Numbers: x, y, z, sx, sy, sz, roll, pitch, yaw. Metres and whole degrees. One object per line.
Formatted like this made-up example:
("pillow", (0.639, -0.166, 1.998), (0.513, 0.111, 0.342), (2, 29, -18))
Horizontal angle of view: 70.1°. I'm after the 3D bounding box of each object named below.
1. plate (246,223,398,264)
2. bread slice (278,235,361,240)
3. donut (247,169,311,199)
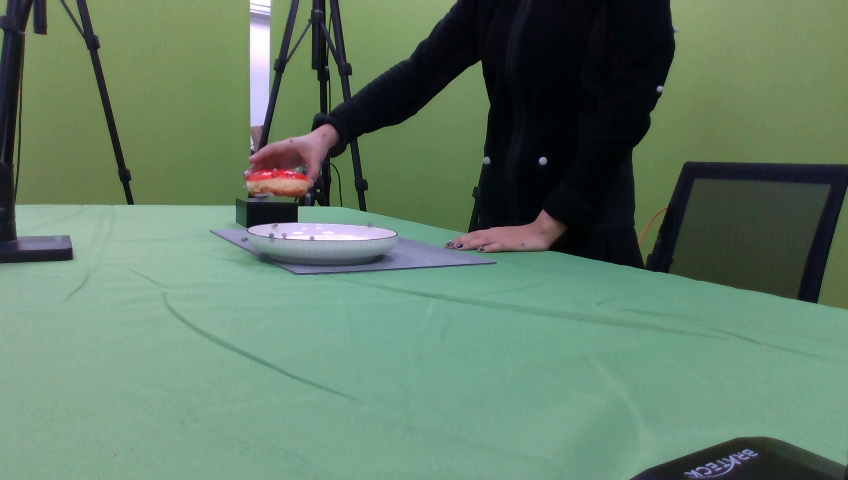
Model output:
("plate", (-0.140, 0.004, 0.847), (0.209, 0.038, 0.209), (2, 7, 0))
("bread slice", (-0.139, 0.007, 0.839), (0.132, 0.019, 0.104), (-2, 8, -35))
("donut", (-0.233, -0.090, 0.974), (0.099, 0.048, 0.099), (-1, 4, 0))
